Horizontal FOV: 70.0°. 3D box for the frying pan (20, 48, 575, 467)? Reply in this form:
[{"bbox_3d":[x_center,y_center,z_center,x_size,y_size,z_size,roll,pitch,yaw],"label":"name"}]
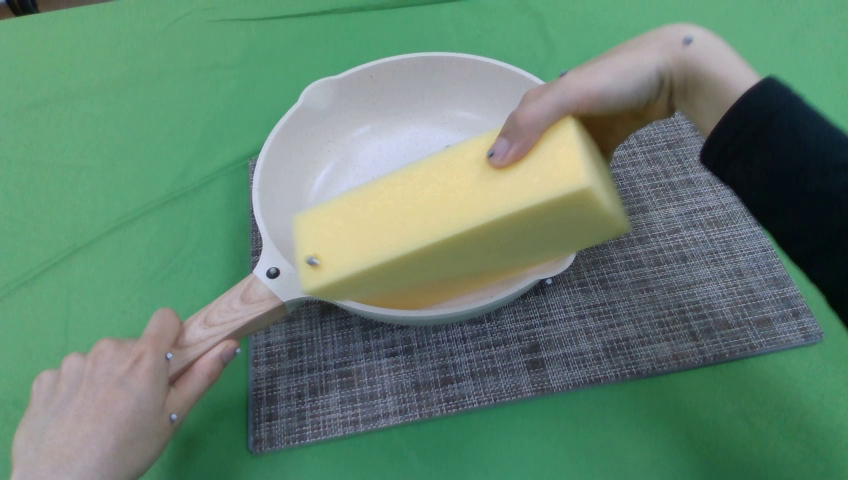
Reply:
[{"bbox_3d":[-0.075,0.002,0.489,0.487,0.103,0.304,-36,59,-28],"label":"frying pan"}]

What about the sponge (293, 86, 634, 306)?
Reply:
[{"bbox_3d":[0.028,-0.014,0.427,0.206,0.119,0.060,-23,67,22],"label":"sponge"}]
